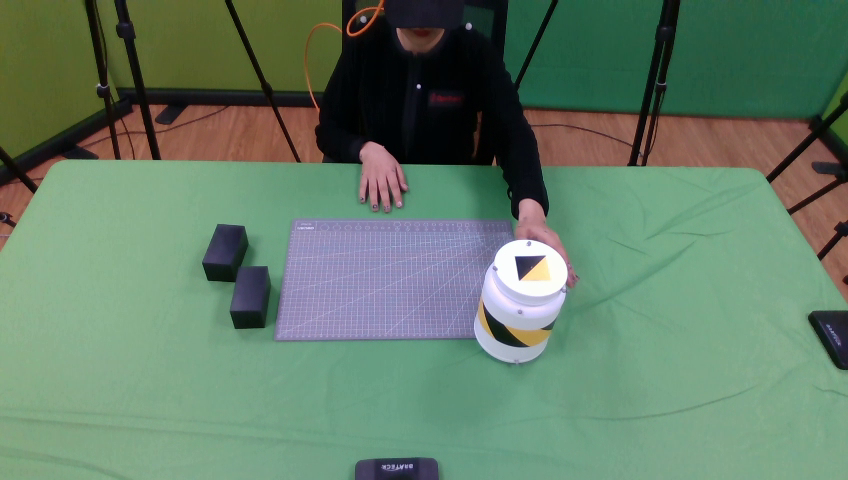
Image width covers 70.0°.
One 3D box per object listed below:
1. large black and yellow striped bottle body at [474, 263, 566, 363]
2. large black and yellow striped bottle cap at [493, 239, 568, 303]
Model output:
[{"bbox_3d":[0.157,0.103,0.993,0.131,0.185,0.130,3,48,-3],"label":"large black and yellow striped bottle body"},{"bbox_3d":[0.163,0.045,0.932,0.115,0.019,0.114,3,49,-3],"label":"large black and yellow striped bottle cap"}]
